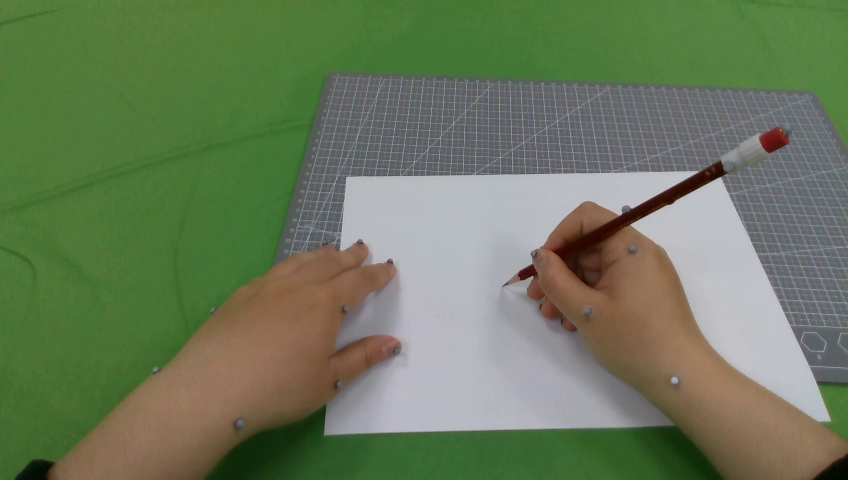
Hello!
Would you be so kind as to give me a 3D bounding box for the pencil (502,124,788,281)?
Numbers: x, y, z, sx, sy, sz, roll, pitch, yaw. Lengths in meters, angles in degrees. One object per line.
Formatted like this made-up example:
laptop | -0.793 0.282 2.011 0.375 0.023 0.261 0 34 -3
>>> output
pencil | 0.106 -0.010 0.340 0.012 0.194 0.012 17 58 -29
